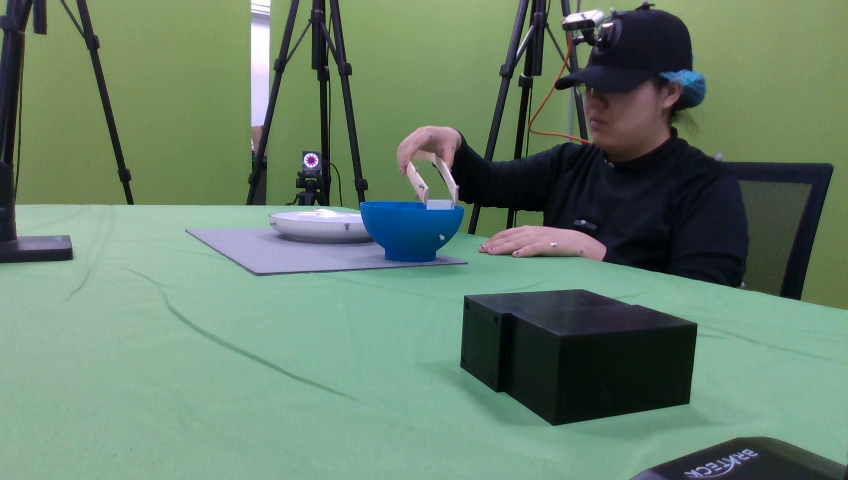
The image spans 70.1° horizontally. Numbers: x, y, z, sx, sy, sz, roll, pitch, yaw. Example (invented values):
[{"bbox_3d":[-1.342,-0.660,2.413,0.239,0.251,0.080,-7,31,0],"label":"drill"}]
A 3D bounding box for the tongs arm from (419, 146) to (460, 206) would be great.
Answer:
[{"bbox_3d":[0.024,-0.116,1.019,0.028,0.028,0.386,-3,18,-6],"label":"tongs arm"}]

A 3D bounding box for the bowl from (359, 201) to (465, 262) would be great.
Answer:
[{"bbox_3d":[-0.018,-0.013,0.859,0.151,0.077,0.151,2,7,0],"label":"bowl"}]

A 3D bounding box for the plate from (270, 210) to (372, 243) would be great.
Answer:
[{"bbox_3d":[-0.161,-0.023,1.054,0.208,0.039,0.207,2,7,0],"label":"plate"}]

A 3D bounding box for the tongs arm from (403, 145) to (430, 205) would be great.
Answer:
[{"bbox_3d":[-0.004,-0.117,1.016,0.051,0.026,0.383,0,18,-9],"label":"tongs arm"}]
